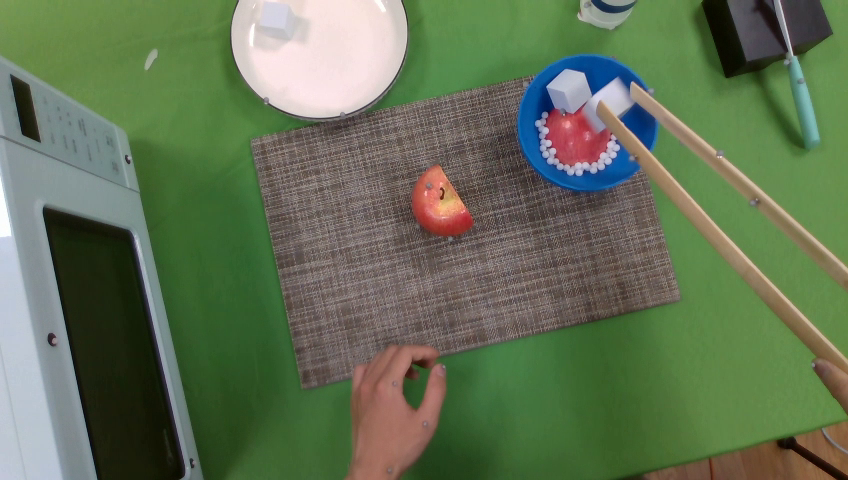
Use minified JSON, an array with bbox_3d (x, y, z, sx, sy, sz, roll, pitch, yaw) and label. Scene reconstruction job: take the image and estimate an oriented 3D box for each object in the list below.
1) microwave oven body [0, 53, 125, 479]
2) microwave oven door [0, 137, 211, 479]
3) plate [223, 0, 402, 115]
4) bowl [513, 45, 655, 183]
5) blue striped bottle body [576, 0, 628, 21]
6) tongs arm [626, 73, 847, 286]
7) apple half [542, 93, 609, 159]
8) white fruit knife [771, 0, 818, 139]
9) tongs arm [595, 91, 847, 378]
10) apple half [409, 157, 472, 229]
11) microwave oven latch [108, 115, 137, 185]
[{"bbox_3d":[-0.451,0.100,0.573,0.326,0.260,0.440,-15,86,-2],"label":"microwave oven body"},{"bbox_3d":[-0.298,0.102,0.568,0.039,0.244,0.355,-16,85,-1],"label":"microwave oven door"},{"bbox_3d":[-0.129,-0.246,0.718,0.208,0.039,0.207,0,85,0],"label":"plate"},{"bbox_3d":[0.171,-0.131,0.682,0.151,0.077,0.151,0,85,1],"label":"bowl"},{"bbox_3d":[0.214,-0.302,0.679,0.063,0.121,0.063,0,84,1],"label":"blue striped bottle body"},{"bbox_3d":[0.290,-0.015,0.519,0.051,0.027,0.381,-34,62,-7],"label":"tongs arm"},{"bbox_3d":[0.174,-0.131,0.677,0.081,0.033,0.081,0,84,1],"label":"apple half"},{"bbox_3d":[0.415,-0.212,0.688,0.016,0.027,0.208,-20,102,16],"label":"white fruit knife"},{"bbox_3d":[0.268,-0.002,0.517,0.028,0.028,0.383,-29,62,-9],"label":"tongs arm"},{"bbox_3d":[0.012,-0.045,0.679,0.053,0.074,0.081,-34,89,3],"label":"apple half"},{"bbox_3d":[-0.352,-0.099,0.687,0.030,0.029,0.079,-15,86,-2],"label":"microwave oven latch"}]
